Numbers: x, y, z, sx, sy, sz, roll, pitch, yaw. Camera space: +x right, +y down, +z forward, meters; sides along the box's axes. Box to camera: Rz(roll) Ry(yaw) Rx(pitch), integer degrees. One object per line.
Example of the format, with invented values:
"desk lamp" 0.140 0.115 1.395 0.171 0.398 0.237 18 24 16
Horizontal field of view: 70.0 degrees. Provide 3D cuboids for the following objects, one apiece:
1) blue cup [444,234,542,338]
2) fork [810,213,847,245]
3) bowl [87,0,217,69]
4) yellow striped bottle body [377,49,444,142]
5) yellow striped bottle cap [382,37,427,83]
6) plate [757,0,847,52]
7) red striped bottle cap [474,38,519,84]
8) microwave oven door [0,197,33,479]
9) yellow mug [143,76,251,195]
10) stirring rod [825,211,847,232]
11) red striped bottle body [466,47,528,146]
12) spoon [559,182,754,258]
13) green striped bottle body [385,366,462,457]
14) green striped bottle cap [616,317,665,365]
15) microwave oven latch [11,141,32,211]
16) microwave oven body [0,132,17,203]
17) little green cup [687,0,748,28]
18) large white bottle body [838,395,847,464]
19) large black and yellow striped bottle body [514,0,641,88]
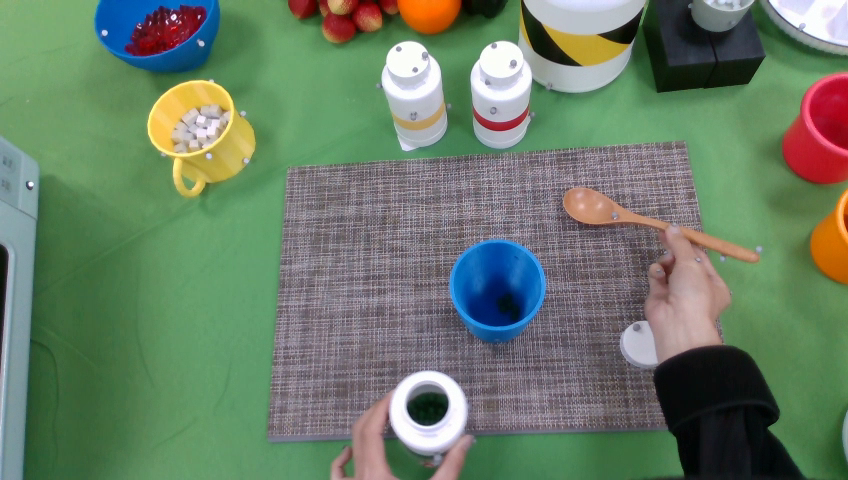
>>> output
"blue cup" 0.064 0.052 0.574 0.092 0.101 0.092 -1 69 4
"fork" 0.441 0.010 0.528 0.028 0.019 0.205 -41 27 -8
"bowl" -0.320 -0.267 0.750 0.151 0.077 0.150 -2 69 5
"yellow striped bottle body" -0.014 -0.163 0.656 0.063 0.121 0.062 -2 69 6
"yellow striped bottle cap" -0.020 -0.181 0.609 0.044 0.019 0.044 -2 71 5
"plate" 0.482 -0.300 0.700 0.209 0.038 0.207 -2 70 5
"red striped bottle cap" 0.072 -0.177 0.597 0.044 0.018 0.044 -1 68 2
"microwave oven door" -0.443 0.093 0.521 0.039 0.245 0.353 -12 69 2
"yellow mug" -0.262 -0.114 0.693 0.100 0.064 0.130 6 71 8
"stirring rod" 0.411 0.010 0.539 0.014 0.006 0.175 -1 26 3
"red striped bottle body" 0.079 -0.157 0.645 0.063 0.120 0.062 -4 67 9
"spoon" 0.227 -0.018 0.608 0.192 0.022 0.041 21 66 29
"green striped bottle body" 0.000 0.146 0.516 0.063 0.120 0.062 0 64 1
"green striped bottle cap" 0.210 0.098 0.587 0.044 0.020 0.044 -2 64 4
"microwave oven latch" -0.471 -0.071 0.694 0.030 0.030 0.078 -10 70 2
"microwave oven body" -0.593 0.087 0.545 0.326 0.262 0.438 -12 69 1
"little green cup" 0.314 -0.261 0.649 0.061 0.039 0.061 -1 68 4
"large white bottle body" 0.427 0.150 0.458 0.130 0.186 0.129 -2 69 6
"large black and yellow striped bottle body" 0.163 -0.265 0.642 0.130 0.185 0.130 -2 69 6
